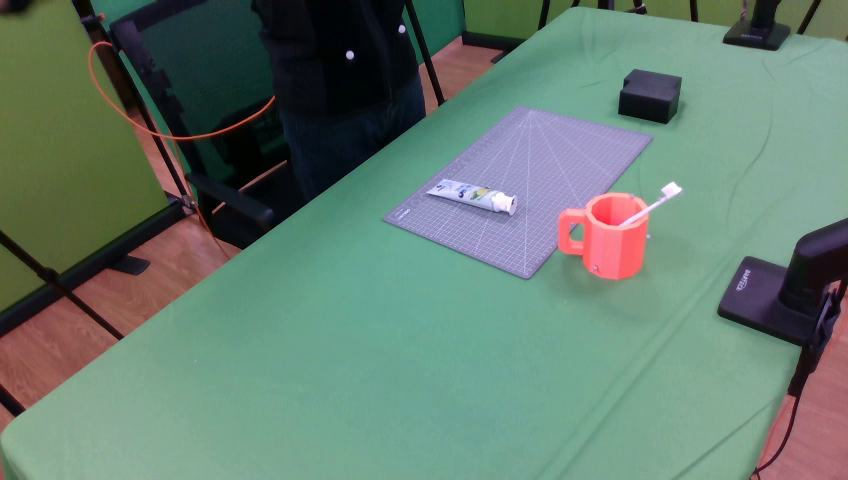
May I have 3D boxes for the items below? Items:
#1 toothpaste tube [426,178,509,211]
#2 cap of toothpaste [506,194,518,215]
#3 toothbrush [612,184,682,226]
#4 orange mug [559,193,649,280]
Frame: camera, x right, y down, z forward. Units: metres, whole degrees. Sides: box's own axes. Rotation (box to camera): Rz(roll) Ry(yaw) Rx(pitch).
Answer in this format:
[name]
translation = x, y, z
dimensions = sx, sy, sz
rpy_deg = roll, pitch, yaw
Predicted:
[toothpaste tube]
translation = 0.083, -0.081, 1.054
dimensions = 0.164, 0.034, 0.055
rpy_deg = 18, 40, 34
[cap of toothpaste]
translation = 0.146, -0.060, 1.007
dimensions = 0.011, 0.037, 0.037
rpy_deg = 14, 46, 22
[toothbrush]
translation = 0.294, -0.035, 0.847
dimensions = 0.017, 0.181, 0.014
rpy_deg = 28, 64, -8
[orange mug]
translation = 0.261, -0.008, 0.884
dimensions = 0.126, 0.101, 0.083
rpy_deg = 9, 43, 14
